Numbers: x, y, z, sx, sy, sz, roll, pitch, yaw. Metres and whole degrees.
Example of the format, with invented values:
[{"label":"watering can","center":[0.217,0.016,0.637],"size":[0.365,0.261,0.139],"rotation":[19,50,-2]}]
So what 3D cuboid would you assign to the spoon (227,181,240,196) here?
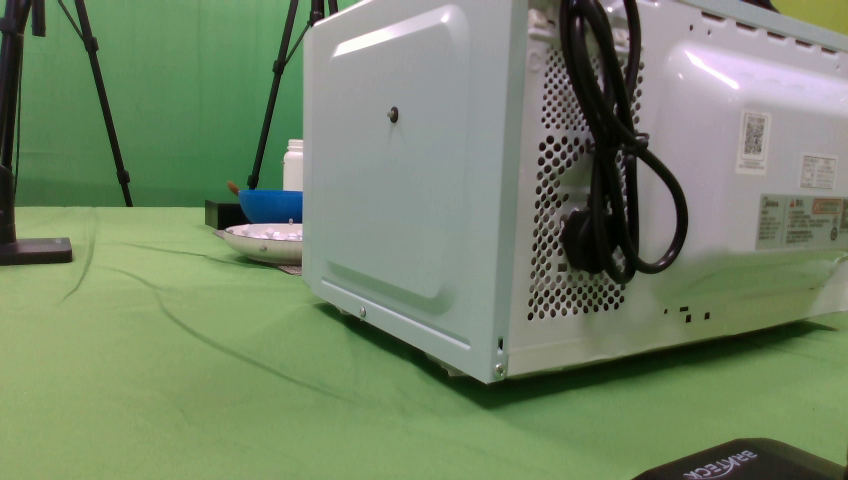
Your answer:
[{"label":"spoon","center":[-0.315,-0.074,1.235],"size":[0.195,0.021,0.041],"rotation":[24,-10,-37]}]

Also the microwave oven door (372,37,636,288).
[{"label":"microwave oven door","center":[0.110,-0.080,0.686],"size":[0.358,0.243,0.039],"rotation":[-2,9,-33]}]

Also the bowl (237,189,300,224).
[{"label":"bowl","center":[-0.247,-0.046,1.055],"size":[0.151,0.077,0.151],"rotation":[3,8,0]}]

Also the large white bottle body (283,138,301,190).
[{"label":"large white bottle body","center":[-0.265,-0.143,1.423],"size":[0.131,0.184,0.130],"rotation":[2,7,0]}]

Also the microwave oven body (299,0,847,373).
[{"label":"microwave oven body","center":[0.151,-0.055,0.542],"size":[0.444,0.260,0.324],"rotation":[-2,7,-33]}]

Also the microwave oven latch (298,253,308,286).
[{"label":"microwave oven latch","center":[-0.081,0.027,0.582],"size":[0.079,0.029,0.030],"rotation":[-1,7,-32]}]

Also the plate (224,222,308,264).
[{"label":"plate","center":[-0.171,0.004,0.849],"size":[0.209,0.038,0.209],"rotation":[2,7,0]}]

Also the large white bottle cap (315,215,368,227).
[{"label":"large white bottle cap","center":[-0.177,-0.041,1.309],"size":[0.115,0.018,0.115],"rotation":[2,6,0]}]
